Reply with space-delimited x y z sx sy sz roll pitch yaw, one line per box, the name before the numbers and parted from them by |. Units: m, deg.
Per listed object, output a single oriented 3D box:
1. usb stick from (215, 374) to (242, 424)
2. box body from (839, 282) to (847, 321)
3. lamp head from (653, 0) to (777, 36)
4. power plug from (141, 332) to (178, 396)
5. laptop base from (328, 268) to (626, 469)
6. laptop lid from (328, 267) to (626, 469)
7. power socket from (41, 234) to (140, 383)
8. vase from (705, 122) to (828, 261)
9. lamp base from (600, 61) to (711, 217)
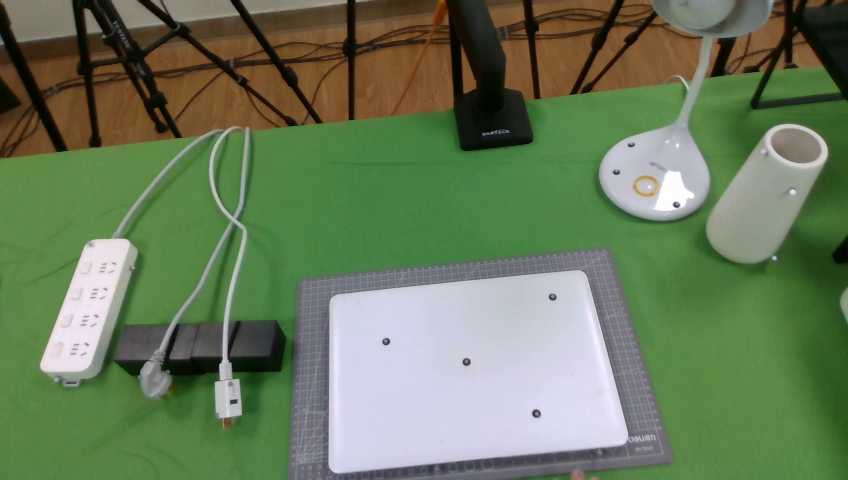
usb stick | -0.239 0.195 0.741 0.027 0.021 0.059 -9 81 33
box body | 0.657 0.160 0.643 0.254 0.162 0.360 -4 57 2
lamp head | 0.294 -0.276 0.584 0.112 0.113 0.122 20 78 17
power plug | -0.320 0.160 0.757 0.035 0.053 0.072 23 68 40
laptop base | 0.055 0.155 0.773 0.354 0.023 0.233 -6 60 0
laptop lid | 0.054 0.151 0.762 0.357 0.013 0.239 -5 59 1
power socket | -0.461 0.086 0.846 0.072 0.033 0.224 0 56 3
vase | 0.435 -0.059 0.779 0.098 0.202 0.097 -3 55 4
lamp base | 0.349 -0.153 0.858 0.160 0.182 0.178 23 59 18
